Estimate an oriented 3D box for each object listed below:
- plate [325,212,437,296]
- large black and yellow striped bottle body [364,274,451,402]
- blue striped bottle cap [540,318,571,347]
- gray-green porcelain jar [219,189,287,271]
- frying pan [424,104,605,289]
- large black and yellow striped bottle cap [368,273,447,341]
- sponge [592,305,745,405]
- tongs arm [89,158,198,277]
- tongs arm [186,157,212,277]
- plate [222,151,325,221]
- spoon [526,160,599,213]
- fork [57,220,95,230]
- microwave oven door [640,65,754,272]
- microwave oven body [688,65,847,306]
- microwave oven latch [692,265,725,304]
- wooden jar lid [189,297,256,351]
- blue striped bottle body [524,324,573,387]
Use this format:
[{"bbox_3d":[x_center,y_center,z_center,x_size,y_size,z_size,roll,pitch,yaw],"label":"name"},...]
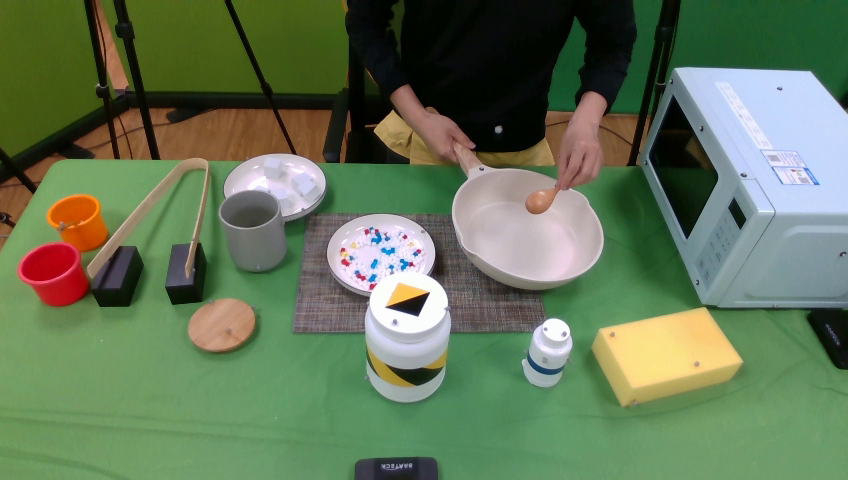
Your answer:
[{"bbox_3d":[-0.080,0.030,1.143,0.209,0.038,0.208,3,46,-3],"label":"plate"},{"bbox_3d":[-0.026,0.151,0.937,0.131,0.185,0.130,2,47,-2],"label":"large black and yellow striped bottle body"},{"bbox_3d":[0.203,0.142,0.933,0.044,0.021,0.044,3,49,-3],"label":"blue striped bottle cap"},{"bbox_3d":[-0.310,-0.014,1.113,0.106,0.127,0.105,2,46,-2],"label":"gray-green porcelain jar"},{"bbox_3d":[0.139,-0.101,1.193,0.307,0.103,0.485,-21,64,-28],"label":"frying pan"},{"bbox_3d":[-0.023,0.094,0.875,0.115,0.019,0.114,2,45,-2],"label":"large black and yellow striped bottle cap"},{"bbox_3d":[0.405,0.190,1.014,0.207,0.061,0.117,-10,48,-13],"label":"sponge"},{"bbox_3d":[-0.529,-0.058,1.164,0.028,0.028,0.385,1,36,8],"label":"tongs arm"},{"bbox_3d":[-0.445,-0.058,1.168,0.051,0.026,0.382,-4,37,-6],"label":"tongs arm"},{"bbox_3d":[-0.310,-0.106,1.263,0.208,0.039,0.206,2,47,-2],"label":"plate"},{"bbox_3d":[0.255,-0.104,1.098,0.194,0.021,0.041,-33,93,-31],"label":"spoon"},{"bbox_3d":[-0.624,-0.027,1.086,0.028,0.207,0.018,-3,92,-17],"label":"fork"},{"bbox_3d":[0.523,-0.148,1.193,0.039,0.245,0.353,0,47,-3],"label":"microwave oven door"},{"bbox_3d":[0.669,-0.111,1.176,0.326,0.261,0.439,0,46,-3],"label":"microwave oven body"},{"bbox_3d":[0.522,0.081,1.116,0.030,0.029,0.078,1,46,-2],"label":"microwave oven latch"},{"bbox_3d":[-0.342,0.145,1.033,0.108,0.021,0.107,2,45,-2],"label":"wooden jar lid"},{"bbox_3d":[0.200,0.178,0.970,0.063,0.121,0.062,2,46,-2],"label":"blue striped bottle body"}]
